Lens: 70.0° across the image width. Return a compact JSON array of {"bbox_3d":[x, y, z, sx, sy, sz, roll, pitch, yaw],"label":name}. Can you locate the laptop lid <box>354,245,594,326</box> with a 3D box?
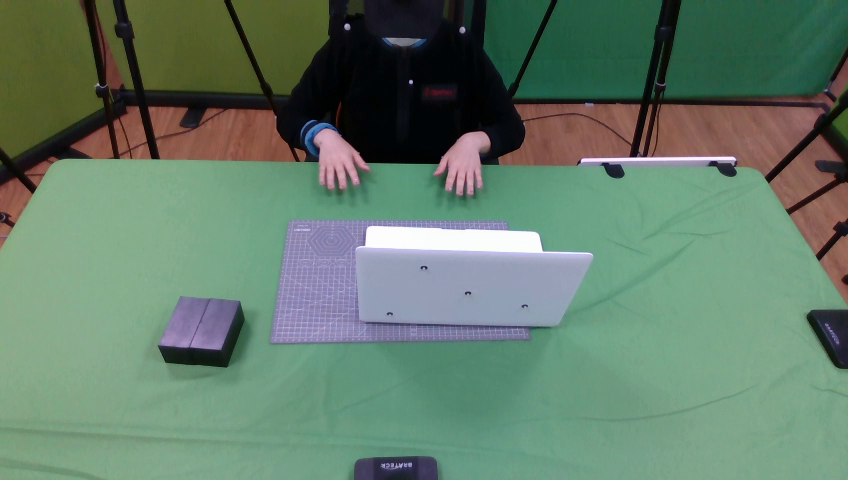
[{"bbox_3d":[0.069,0.080,0.964,0.357,0.243,0.013,2,55,-4],"label":"laptop lid"}]

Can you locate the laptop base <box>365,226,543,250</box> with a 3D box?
[{"bbox_3d":[0.061,0.063,1.144,0.354,0.023,0.234,2,43,-3],"label":"laptop base"}]
